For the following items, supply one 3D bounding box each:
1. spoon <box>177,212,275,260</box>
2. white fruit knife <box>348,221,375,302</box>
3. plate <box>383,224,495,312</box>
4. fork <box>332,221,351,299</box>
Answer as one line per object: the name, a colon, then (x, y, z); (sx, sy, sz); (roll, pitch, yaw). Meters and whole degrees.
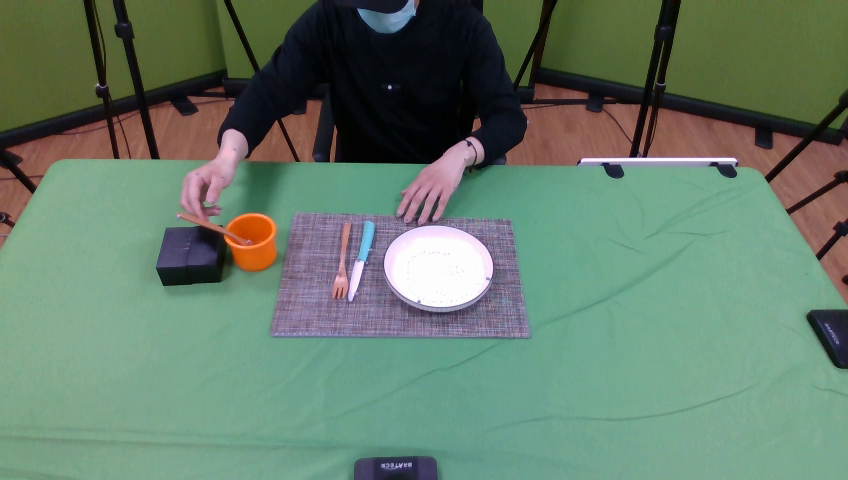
spoon: (-0.353, -0.009, 1.093); (0.021, 0.195, 0.041); (-36, 43, 23)
white fruit knife: (-0.119, 0.037, 1.153); (0.027, 0.016, 0.206); (-16, 42, 25)
plate: (0.026, 0.055, 1.128); (0.209, 0.038, 0.208); (2, 46, -2)
fork: (-0.153, 0.034, 1.149); (0.028, 0.019, 0.206); (-7, 47, 7)
